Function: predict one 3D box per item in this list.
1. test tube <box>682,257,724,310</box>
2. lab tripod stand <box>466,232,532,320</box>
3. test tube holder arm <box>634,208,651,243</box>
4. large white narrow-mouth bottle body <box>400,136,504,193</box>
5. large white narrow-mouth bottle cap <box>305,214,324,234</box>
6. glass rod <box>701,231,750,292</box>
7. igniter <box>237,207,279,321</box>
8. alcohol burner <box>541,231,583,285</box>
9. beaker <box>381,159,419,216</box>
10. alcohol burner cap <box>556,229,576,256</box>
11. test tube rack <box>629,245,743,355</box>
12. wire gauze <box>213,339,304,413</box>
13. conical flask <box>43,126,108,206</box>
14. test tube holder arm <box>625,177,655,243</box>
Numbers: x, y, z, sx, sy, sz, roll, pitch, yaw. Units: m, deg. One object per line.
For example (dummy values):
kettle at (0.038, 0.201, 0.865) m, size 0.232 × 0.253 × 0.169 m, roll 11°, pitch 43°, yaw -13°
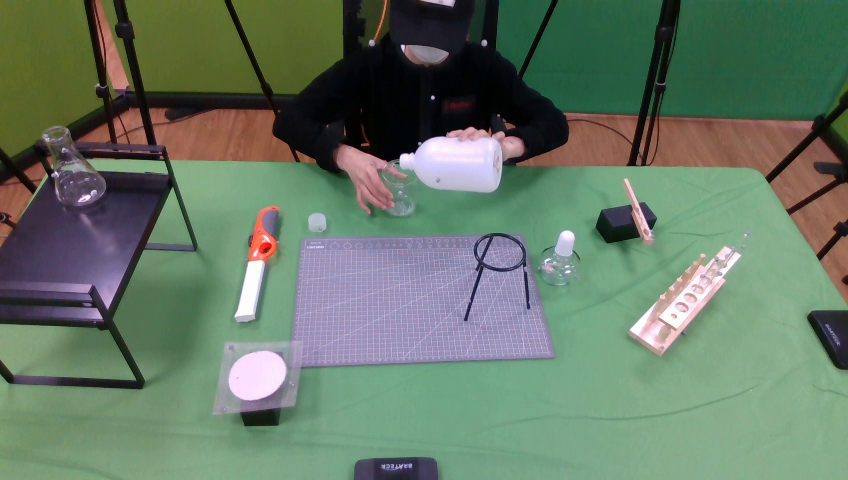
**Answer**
test tube at (0.475, 0.080, 1.037) m, size 0.017 × 0.151 × 0.017 m, roll 2°, pitch 51°, yaw -2°
lab tripod stand at (0.125, 0.059, 1.065) m, size 0.148 × 0.132 × 0.147 m, roll 1°, pitch 45°, yaw 0°
test tube holder arm at (0.428, -0.030, 1.189) m, size 0.010 × 0.015 × 0.087 m, roll 1°, pitch 47°, yaw -2°
large white narrow-mouth bottle body at (0.048, -0.147, 1.155) m, size 0.194 × 0.102 × 0.101 m, roll 7°, pitch 45°, yaw 17°
large white narrow-mouth bottle cap at (-0.219, -0.033, 1.214) m, size 0.038 × 0.024 × 0.037 m, roll 2°, pitch 46°, yaw -2°
glass rod at (0.519, 0.045, 1.050) m, size 0.008 × 0.201 × 0.008 m, roll 0°, pitch 55°, yaw 0°
igniter at (-0.309, 0.036, 1.136) m, size 0.057 × 0.025 × 0.274 m, roll -7°, pitch 45°, yaw 4°
alcohol burner at (0.258, 0.028, 1.123) m, size 0.078 × 0.120 × 0.077 m, roll 1°, pitch 48°, yaw -1°
beaker at (-0.045, -0.104, 1.226) m, size 0.084 × 0.101 × 0.073 m, roll -12°, pitch 52°, yaw -14°
alcohol burner cap at (0.260, 0.002, 1.098) m, size 0.034 × 0.048 × 0.033 m, roll 3°, pitch 40°, yaw -2°
test tube rack at (0.474, 0.095, 1.091) m, size 0.242 × 0.085 × 0.066 m, roll -34°, pitch 56°, yaw -31°
wire gauze at (-0.250, 0.203, 0.924) m, size 0.121 × 0.011 × 0.124 m, roll -1°, pitch 46°, yaw -3°
conical flask at (-0.555, -0.119, 0.953) m, size 0.075 × 0.122 × 0.075 m, roll 2°, pitch 46°, yaw -2°
test tube holder arm at (0.433, -0.063, 1.220) m, size 0.013 × 0.015 × 0.177 m, roll 1°, pitch 47°, yaw -3°
